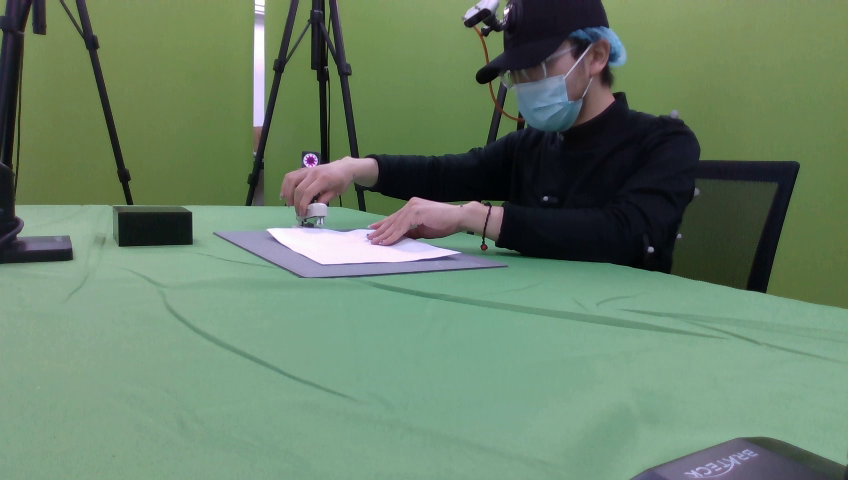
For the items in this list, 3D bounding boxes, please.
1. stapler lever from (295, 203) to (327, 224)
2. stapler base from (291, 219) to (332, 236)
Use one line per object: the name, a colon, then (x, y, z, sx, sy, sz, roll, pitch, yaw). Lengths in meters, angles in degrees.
stapler lever: (-0.208, -0.050, 1.109, 0.027, 0.040, 0.117, 0, 6, -29)
stapler base: (-0.207, -0.026, 1.111, 0.041, 0.024, 0.130, 1, 5, -29)
